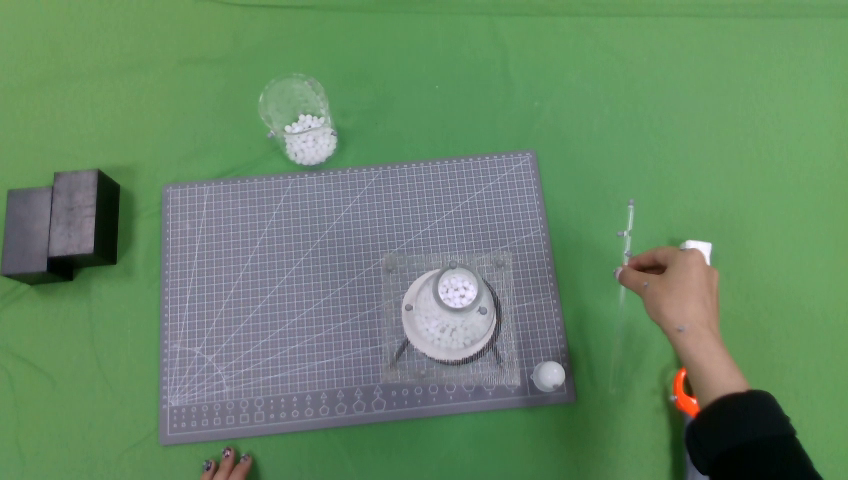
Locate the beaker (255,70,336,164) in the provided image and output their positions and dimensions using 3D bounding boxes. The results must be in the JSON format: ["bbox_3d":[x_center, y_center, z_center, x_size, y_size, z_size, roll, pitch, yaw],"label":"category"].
[{"bbox_3d":[-0.140,-0.135,0.696,0.084,0.101,0.074,30,77,7],"label":"beaker"}]

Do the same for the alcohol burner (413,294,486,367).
[{"bbox_3d":[0.025,0.091,0.624,0.078,0.120,0.077,-1,74,3],"label":"alcohol burner"}]

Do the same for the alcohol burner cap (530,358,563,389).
[{"bbox_3d":[0.133,0.141,0.647,0.034,0.048,0.033,0,74,1],"label":"alcohol burner cap"}]

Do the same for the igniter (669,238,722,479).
[{"bbox_3d":[0.294,0.132,0.660,0.057,0.025,0.275,8,75,-8],"label":"igniter"}]

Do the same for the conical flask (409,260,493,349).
[{"bbox_3d":[0.024,0.048,0.495,0.075,0.122,0.075,0,76,0],"label":"conical flask"}]

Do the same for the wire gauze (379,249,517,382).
[{"bbox_3d":[0.021,0.067,0.552,0.125,0.011,0.121,1,77,-2],"label":"wire gauze"}]

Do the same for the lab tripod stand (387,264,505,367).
[{"bbox_3d":[0.024,0.086,0.615,0.148,0.132,0.147,0,76,1],"label":"lab tripod stand"}]

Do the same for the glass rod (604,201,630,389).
[{"bbox_3d":[0.200,0.059,0.630,0.008,0.008,0.200,4,99,1],"label":"glass rod"}]
